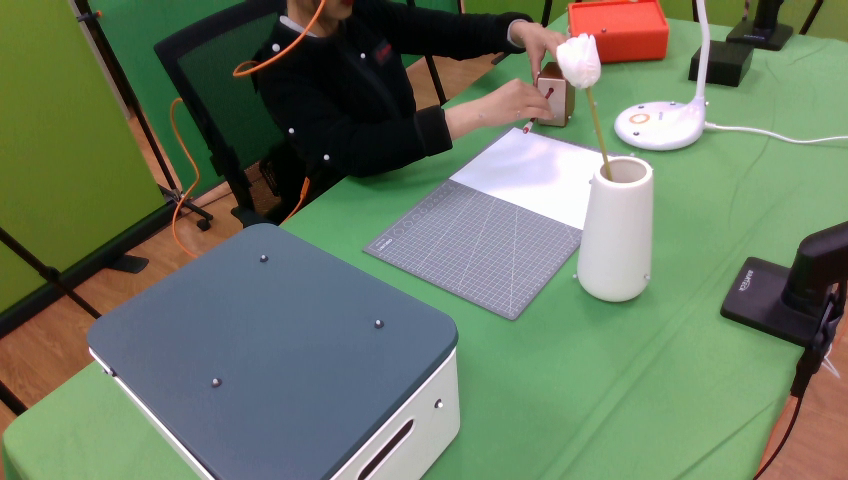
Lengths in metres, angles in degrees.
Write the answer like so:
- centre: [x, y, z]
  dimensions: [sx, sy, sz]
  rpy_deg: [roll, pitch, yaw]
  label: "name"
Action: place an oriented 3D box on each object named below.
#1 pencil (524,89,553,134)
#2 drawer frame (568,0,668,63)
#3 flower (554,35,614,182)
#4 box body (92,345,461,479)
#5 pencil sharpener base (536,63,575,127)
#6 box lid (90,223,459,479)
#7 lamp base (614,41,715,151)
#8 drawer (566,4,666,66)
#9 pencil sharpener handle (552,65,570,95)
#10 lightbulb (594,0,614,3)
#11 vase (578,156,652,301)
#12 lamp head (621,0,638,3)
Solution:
- centre: [0.224, -0.256, 1.141]
  dimensions: [0.012, 0.012, 0.194]
  rpy_deg: [13, 48, 25]
  label: "pencil"
- centre: [0.450, -0.495, 1.441]
  dimensions: [0.213, 0.083, 0.201]
  rpy_deg: [-1, 40, 9]
  label: "drawer frame"
- centre: [0.237, -0.083, 0.774]
  dimensions: [0.044, 0.363, 0.038]
  rpy_deg: [-22, 26, 6]
  label: "flower"
- centre: [-0.162, 0.170, 0.708]
  dimensions: [0.361, 0.161, 0.255]
  rpy_deg: [25, 50, 34]
  label: "box body"
- centre: [0.267, -0.292, 1.216]
  dimensions: [0.061, 0.107, 0.077]
  rpy_deg: [10, 44, 23]
  label: "pencil sharpener base"
- centre: [-0.174, 0.102, 0.666]
  dimensions: [0.368, 0.015, 0.264]
  rpy_deg: [24, 48, 35]
  label: "box lid"
- centre: [0.449, -0.277, 1.106]
  dimensions: [0.179, 0.181, 0.160]
  rpy_deg: [1, 41, 9]
  label: "lamp base"
- centre: [0.448, -0.493, 1.441]
  dimensions: [0.211, 0.073, 0.194]
  rpy_deg: [0, 40, 9]
  label: "drawer"
- centre: [0.287, -0.333, 1.241]
  dimensions: [0.036, 0.068, 0.030]
  rpy_deg: [4, 41, 28]
  label: "pencil sharpener handle"
- centre: [0.305, -0.437, 0.977]
  dimensions: [0.060, 0.107, 0.059]
  rpy_deg: [12, 44, -11]
  label: "lightbulb"
- centre: [0.261, -0.011, 0.812]
  dimensions: [0.098, 0.201, 0.097]
  rpy_deg: [-4, 40, 4]
  label: "vase"
- centre: [0.319, -0.453, 0.962]
  dimensions: [0.113, 0.123, 0.112]
  rpy_deg: [20, 33, -13]
  label: "lamp head"
